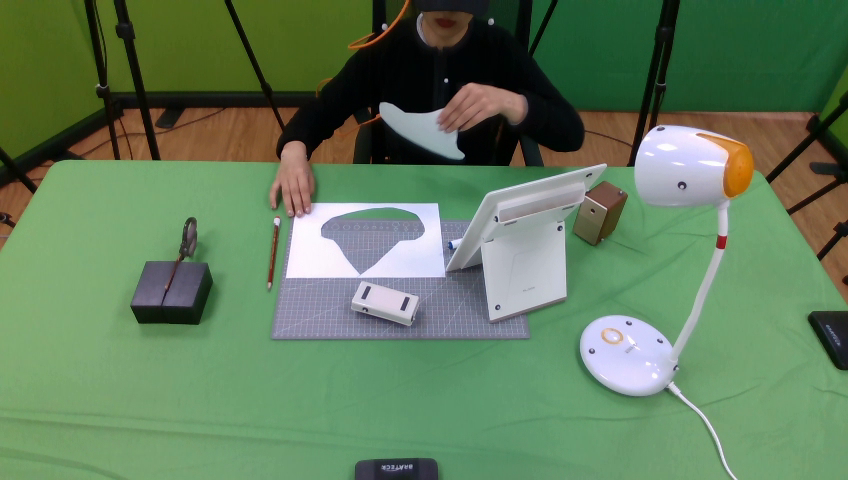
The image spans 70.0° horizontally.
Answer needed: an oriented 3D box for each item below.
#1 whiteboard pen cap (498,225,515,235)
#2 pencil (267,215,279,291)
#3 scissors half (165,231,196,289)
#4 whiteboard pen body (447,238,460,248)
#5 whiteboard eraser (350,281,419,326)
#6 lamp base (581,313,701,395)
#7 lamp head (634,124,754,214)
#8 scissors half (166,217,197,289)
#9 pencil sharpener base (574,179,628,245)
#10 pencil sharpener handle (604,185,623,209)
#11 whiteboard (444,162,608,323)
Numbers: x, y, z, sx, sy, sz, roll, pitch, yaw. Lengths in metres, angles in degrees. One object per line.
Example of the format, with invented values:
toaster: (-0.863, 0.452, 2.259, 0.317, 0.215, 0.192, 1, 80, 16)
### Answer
whiteboard pen cap: (0.166, -0.019, 1.222, 0.033, 0.018, 0.018, -14, 49, -19)
pencil: (-0.291, 0.022, 1.164, 0.012, 0.012, 0.192, -2, 48, -6)
scissors half: (-0.441, 0.036, 1.098, 0.013, 0.040, 0.174, 12, 28, -10)
whiteboard pen body: (0.112, -0.005, 1.204, 0.141, 0.017, 0.017, -14, 49, -18)
whiteboard eraser: (-0.069, 0.113, 1.065, 0.112, 0.042, 0.055, 14, 46, 9)
lamp base: (0.361, 0.144, 0.973, 0.178, 0.181, 0.160, 34, 53, 23)
lamp head: (0.351, -0.089, 0.775, 0.112, 0.113, 0.122, -30, 30, -28)
scissors half: (-0.436, 0.020, 1.086, 0.013, 0.040, 0.174, 7, 47, -7)
pencil sharpener base: (0.355, -0.057, 1.217, 0.076, 0.107, 0.061, -33, 56, -31)
pencil sharpener handle: (0.390, -0.091, 1.235, 0.030, 0.068, 0.036, -33, 69, -31)
whiteboard: (0.186, 0.025, 1.029, 0.217, 0.306, 0.143, -14, 68, -18)
